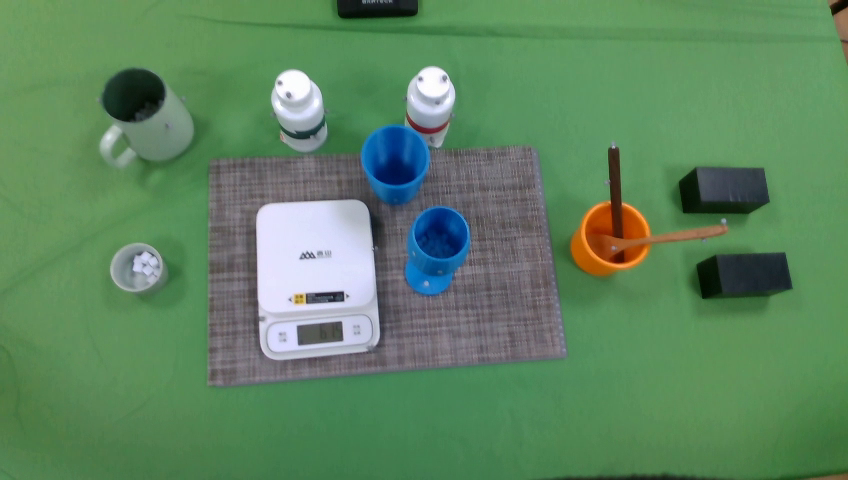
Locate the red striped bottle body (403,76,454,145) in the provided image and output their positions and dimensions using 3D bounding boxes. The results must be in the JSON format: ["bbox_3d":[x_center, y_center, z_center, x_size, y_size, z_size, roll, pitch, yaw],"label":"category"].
[{"bbox_3d":[0.005,-0.179,0.814,0.063,0.120,0.062,1,74,-5],"label":"red striped bottle body"}]

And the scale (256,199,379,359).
[{"bbox_3d":[-0.139,0.047,0.780,0.149,0.031,0.199,-5,75,-6],"label":"scale"}]

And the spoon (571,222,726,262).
[{"bbox_3d":[0.280,-0.001,0.773,0.022,0.193,0.041,5,79,-49],"label":"spoon"}]

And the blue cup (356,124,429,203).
[{"bbox_3d":[-0.039,-0.091,0.792,0.093,0.100,0.092,1,76,-4],"label":"blue cup"}]

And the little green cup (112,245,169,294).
[{"bbox_3d":[-0.354,0.039,0.763,0.061,0.039,0.061,2,74,-5],"label":"little green cup"}]

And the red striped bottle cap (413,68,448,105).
[{"bbox_3d":[0.009,-0.194,0.763,0.044,0.018,0.044,1,71,-4],"label":"red striped bottle cap"}]

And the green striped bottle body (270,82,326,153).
[{"bbox_3d":[-0.165,-0.166,0.795,0.063,0.119,0.063,1,74,-4],"label":"green striped bottle body"}]

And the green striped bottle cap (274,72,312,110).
[{"bbox_3d":[-0.160,-0.183,0.742,0.044,0.020,0.044,1,74,-3],"label":"green striped bottle cap"}]

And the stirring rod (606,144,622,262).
[{"bbox_3d":[0.245,-0.043,0.780,0.014,0.178,0.006,5,38,27],"label":"stirring rod"}]

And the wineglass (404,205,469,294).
[{"bbox_3d":[0.011,0.017,0.727,0.074,0.173,0.073,1,73,-4],"label":"wineglass"}]

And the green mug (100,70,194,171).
[{"bbox_3d":[-0.365,-0.144,0.780,0.092,0.105,0.125,30,74,4],"label":"green mug"}]
